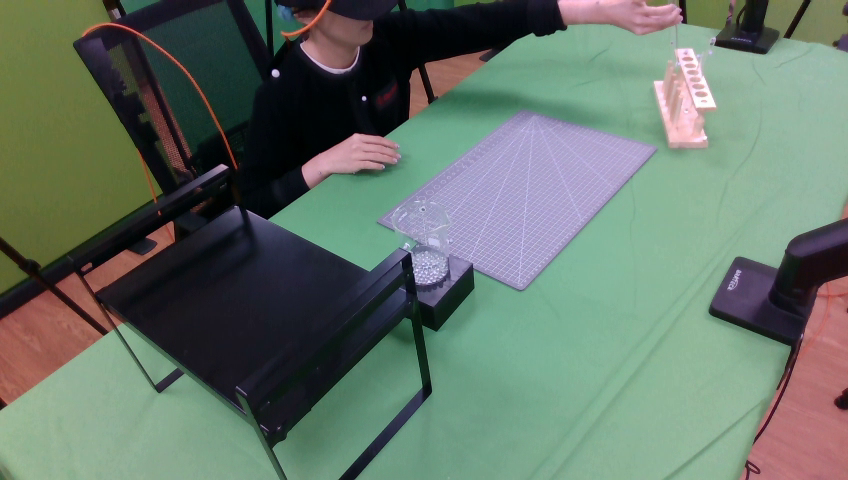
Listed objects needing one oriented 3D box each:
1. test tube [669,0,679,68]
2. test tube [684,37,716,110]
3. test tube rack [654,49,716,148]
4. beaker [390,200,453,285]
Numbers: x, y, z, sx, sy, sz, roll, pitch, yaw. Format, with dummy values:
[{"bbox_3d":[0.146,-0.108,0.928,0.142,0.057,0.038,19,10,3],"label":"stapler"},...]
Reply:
[{"bbox_3d":[0.475,-0.400,1.148,0.017,0.151,0.017,-10,32,7],"label":"test tube"},{"bbox_3d":[0.513,-0.306,1.126,0.017,0.151,0.017,-1,48,1],"label":"test tube"},{"bbox_3d":[0.502,-0.281,1.176,0.066,0.085,0.241,2,41,11],"label":"test tube rack"},{"bbox_3d":[0.002,0.006,0.831,0.084,0.101,0.074,5,42,13],"label":"beaker"}]
